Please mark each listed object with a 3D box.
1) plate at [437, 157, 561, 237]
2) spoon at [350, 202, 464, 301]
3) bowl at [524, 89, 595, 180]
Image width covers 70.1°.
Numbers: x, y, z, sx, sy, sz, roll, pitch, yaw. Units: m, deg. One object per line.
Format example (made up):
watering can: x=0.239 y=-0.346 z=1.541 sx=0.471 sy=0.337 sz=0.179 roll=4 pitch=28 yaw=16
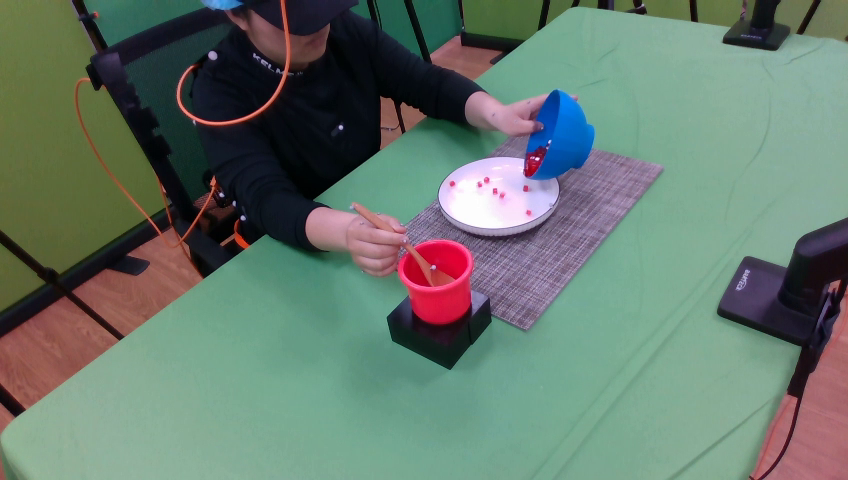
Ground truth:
plate: x=0.127 y=-0.070 z=1.023 sx=0.207 sy=0.039 sz=0.206 roll=-5 pitch=40 yaw=5
spoon: x=-0.020 y=0.013 z=0.787 sx=0.021 sy=0.194 sz=0.041 roll=-34 pitch=19 yaw=38
bowl: x=0.227 y=-0.163 z=0.988 sx=0.077 sy=0.151 sz=0.151 roll=15 pitch=41 yaw=-6
